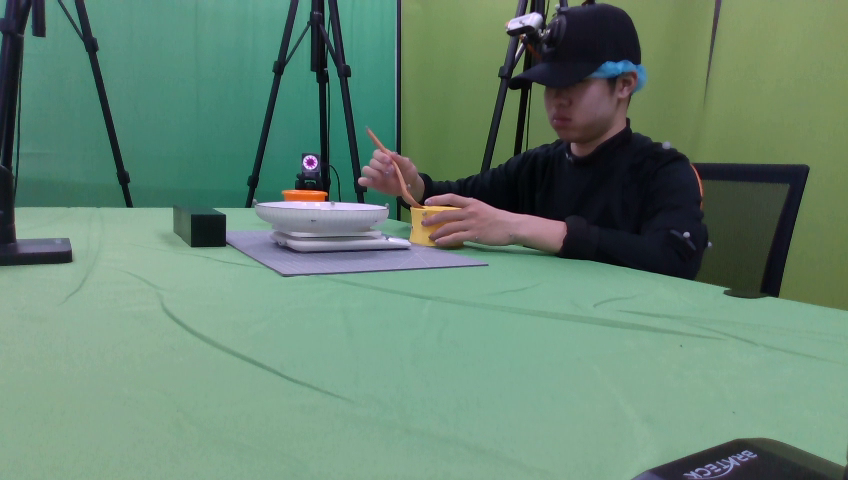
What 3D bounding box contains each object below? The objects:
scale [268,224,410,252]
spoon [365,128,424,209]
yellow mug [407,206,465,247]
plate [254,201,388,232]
[{"bbox_3d":[-0.137,-0.006,0.980,0.202,0.031,0.148,-1,8,-30],"label":"scale"},{"bbox_3d":[-0.053,-0.128,1.093,0.021,0.193,0.042,-32,-14,8],"label":"spoon"},{"bbox_3d":[0.026,-0.027,1.104,0.099,0.064,0.131,7,7,19],"label":"yellow mug"},{"bbox_3d":[-0.161,-0.037,0.961,0.209,0.038,0.209,2,6,0],"label":"plate"}]
